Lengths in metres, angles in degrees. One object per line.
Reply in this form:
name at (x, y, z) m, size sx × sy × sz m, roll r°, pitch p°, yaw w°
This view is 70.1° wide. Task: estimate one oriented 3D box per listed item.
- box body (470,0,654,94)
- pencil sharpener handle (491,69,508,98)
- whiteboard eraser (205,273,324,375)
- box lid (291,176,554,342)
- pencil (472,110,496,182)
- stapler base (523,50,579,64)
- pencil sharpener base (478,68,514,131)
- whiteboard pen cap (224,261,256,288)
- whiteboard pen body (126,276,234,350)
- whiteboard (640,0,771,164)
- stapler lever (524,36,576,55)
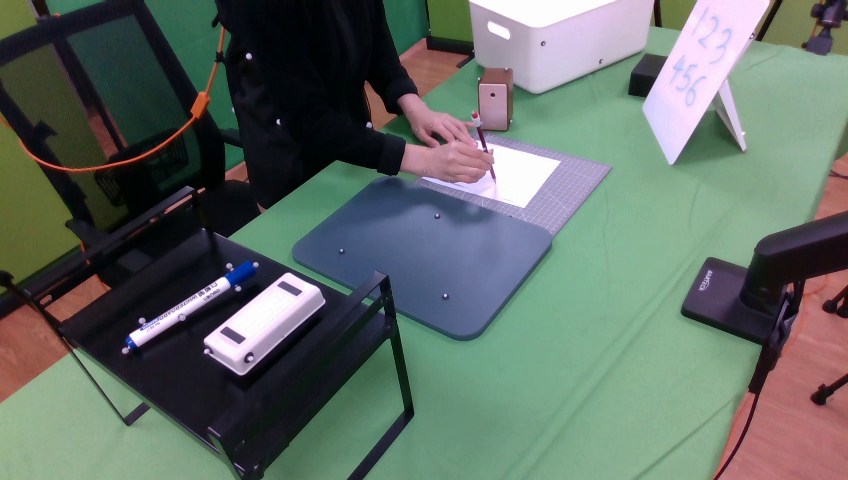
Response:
box body at (0.319, -0.498, 1.405) m, size 0.365 × 0.161 × 0.252 m, roll -26°, pitch 43°, yaw -21°
pencil sharpener handle at (0.155, -0.329, 1.254) m, size 0.036 × 0.068 × 0.030 m, roll 17°, pitch 43°, yaw 4°
whiteboard eraser at (-0.157, 0.084, 0.605) m, size 0.055 × 0.042 × 0.113 m, roll 24°, pitch 49°, yaw 30°
box lid at (-0.005, 0.011, 0.972) m, size 0.368 × 0.015 × 0.264 m, roll 21°, pitch 49°, yaw 30°
pencil at (0.103, -0.150, 1.006) m, size 0.012 × 0.195 × 0.012 m, roll -8°, pitch 59°, yaw 14°
stapler base at (0.301, -0.436, 1.434) m, size 0.130 × 0.024 × 0.041 m, roll 5°, pitch 40°, yaw 17°
pencil sharpener base at (0.148, -0.286, 1.225) m, size 0.061 × 0.107 × 0.076 m, roll 5°, pitch 41°, yaw 15°
whiteboard pen cap at (-0.207, 0.039, 0.677) m, size 0.033 × 0.018 × 0.018 m, roll -35°, pitch 47°, yaw -18°
whiteboard pen body at (-0.251, 0.070, 0.649) m, size 0.141 × 0.017 × 0.017 m, roll -36°, pitch 48°, yaw -26°
whiteboard at (0.543, -0.299, 1.076) m, size 0.144 × 0.305 × 0.216 m, roll 12°, pitch 40°, yaw -7°
stapler lever at (0.296, -0.456, 1.418) m, size 0.117 × 0.040 × 0.027 m, roll 4°, pitch 40°, yaw 17°
